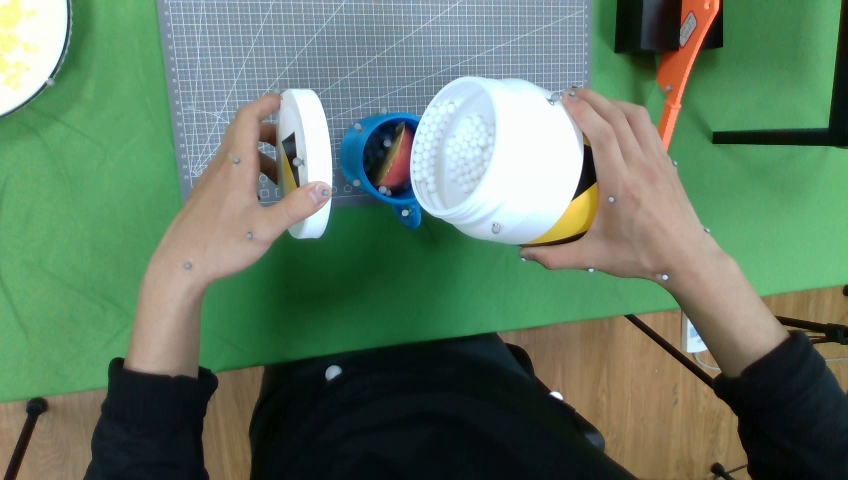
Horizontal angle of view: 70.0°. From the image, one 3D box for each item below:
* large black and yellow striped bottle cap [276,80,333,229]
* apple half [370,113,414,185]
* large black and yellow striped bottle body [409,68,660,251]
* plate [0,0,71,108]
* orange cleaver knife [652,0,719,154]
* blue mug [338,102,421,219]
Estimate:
[{"bbox_3d":[-0.095,-0.065,0.471,0.019,0.114,0.115,-5,103,-24],"label":"large black and yellow striped bottle cap"},{"bbox_3d":[-0.024,-0.084,0.591,0.033,0.081,0.081,28,92,-12],"label":"apple half"},{"bbox_3d":[0.092,-0.064,0.510,0.185,0.129,0.131,9,98,-36],"label":"large black and yellow striped bottle body"},{"bbox_3d":[-0.401,-0.204,0.489,0.210,0.038,0.210,-4,103,-16],"label":"plate"},{"bbox_3d":[0.284,-0.200,0.685,0.012,0.076,0.213,-3,129,-8],"label":"orange cleaver knife"},{"bbox_3d":[-0.031,-0.075,0.596,0.082,0.105,0.117,-21,107,-12],"label":"blue mug"}]
